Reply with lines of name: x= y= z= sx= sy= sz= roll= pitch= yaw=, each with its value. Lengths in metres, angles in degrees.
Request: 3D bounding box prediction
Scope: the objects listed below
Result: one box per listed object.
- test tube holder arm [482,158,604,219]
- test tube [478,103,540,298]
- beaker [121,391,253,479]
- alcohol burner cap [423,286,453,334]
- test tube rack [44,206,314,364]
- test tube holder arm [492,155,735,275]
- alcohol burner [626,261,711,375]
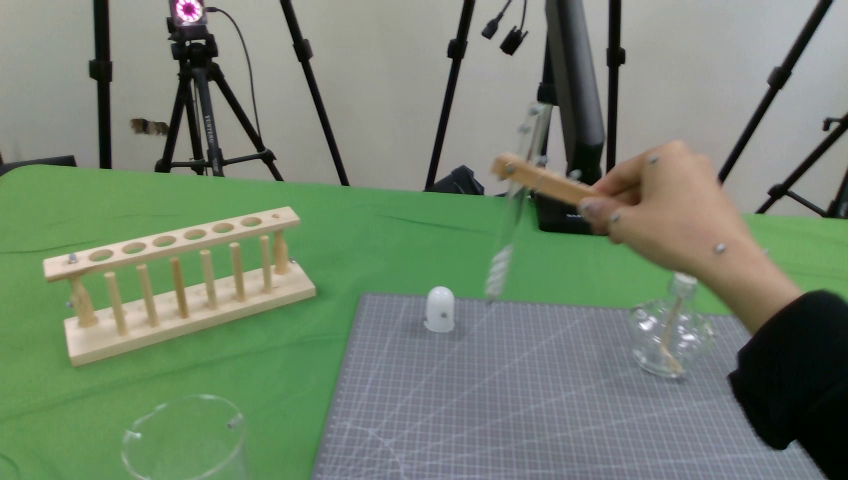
test tube holder arm: x=0.084 y=-0.037 z=0.429 sx=0.087 sy=0.015 sz=0.010 roll=22 pitch=26 yaw=11
test tube: x=0.061 y=-0.025 z=0.447 sx=0.017 sy=0.151 sz=0.017 roll=10 pitch=20 yaw=-3
beaker: x=-0.156 y=0.165 z=0.410 sx=0.084 sy=0.101 sz=0.073 roll=8 pitch=31 yaw=10
alcohol burner cap: x=0.016 y=0.071 z=0.632 sx=0.034 sy=0.048 sz=0.033 roll=2 pitch=31 yaw=-1
test tube rack: x=-0.242 y=0.039 z=0.628 sx=0.243 sy=0.086 sz=0.066 roll=-15 pitch=36 yaw=-27
test tube holder arm: x=0.125 y=-0.021 z=0.422 sx=0.177 sy=0.015 sz=0.013 roll=26 pitch=28 yaw=18
alcohol burner: x=0.237 y=0.070 z=0.579 sx=0.078 sy=0.120 sz=0.077 roll=3 pitch=31 yaw=-2
